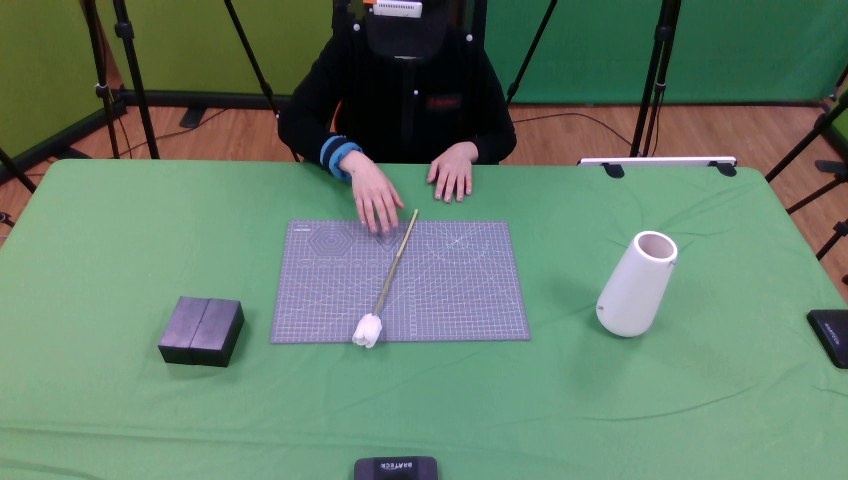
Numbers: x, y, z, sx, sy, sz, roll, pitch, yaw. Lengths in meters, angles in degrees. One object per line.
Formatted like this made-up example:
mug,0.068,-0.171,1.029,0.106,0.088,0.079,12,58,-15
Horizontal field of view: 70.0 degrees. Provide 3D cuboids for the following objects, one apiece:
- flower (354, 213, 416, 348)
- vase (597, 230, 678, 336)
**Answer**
flower,-0.060,0.058,1.139,0.044,0.038,0.360,-20,31,30
vase,0.360,0.077,1.026,0.098,0.201,0.097,1,47,-1
